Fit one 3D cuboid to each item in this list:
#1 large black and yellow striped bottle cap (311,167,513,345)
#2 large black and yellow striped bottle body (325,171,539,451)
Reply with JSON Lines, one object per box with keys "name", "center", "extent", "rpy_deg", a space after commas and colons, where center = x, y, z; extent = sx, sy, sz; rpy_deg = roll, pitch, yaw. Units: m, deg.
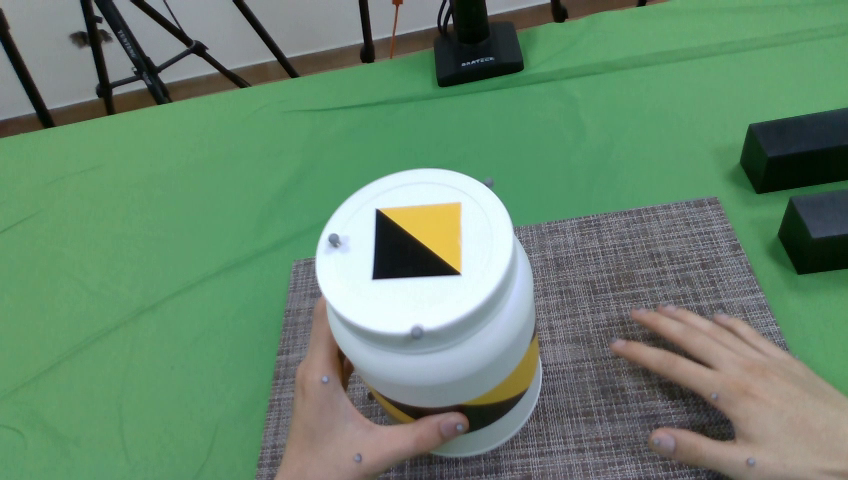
{"name": "large black and yellow striped bottle cap", "center": [-0.007, 0.005, 0.345], "extent": [0.115, 0.019, 0.114], "rpy_deg": [-5, 54, 7]}
{"name": "large black and yellow striped bottle body", "center": [0.010, 0.053, 0.411], "extent": [0.130, 0.186, 0.129], "rpy_deg": [-6, 54, 9]}
